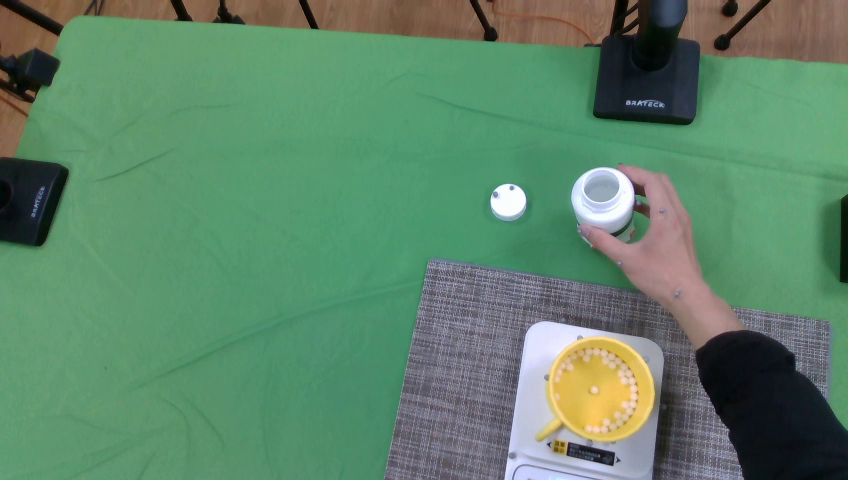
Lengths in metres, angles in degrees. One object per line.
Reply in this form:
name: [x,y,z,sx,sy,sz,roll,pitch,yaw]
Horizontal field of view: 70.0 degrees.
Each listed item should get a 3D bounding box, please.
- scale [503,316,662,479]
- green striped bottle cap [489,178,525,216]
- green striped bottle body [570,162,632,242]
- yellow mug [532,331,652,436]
scale: [0.171,0.189,0.653,0.148,0.032,0.200,8,77,11]
green striped bottle cap: [0.102,-0.053,0.744,0.044,0.020,0.044,-2,80,9]
green striped bottle body: [0.193,-0.042,0.657,0.063,0.120,0.063,-5,73,17]
yellow mug: [0.161,0.155,0.614,0.131,0.064,0.099,-40,73,-2]
